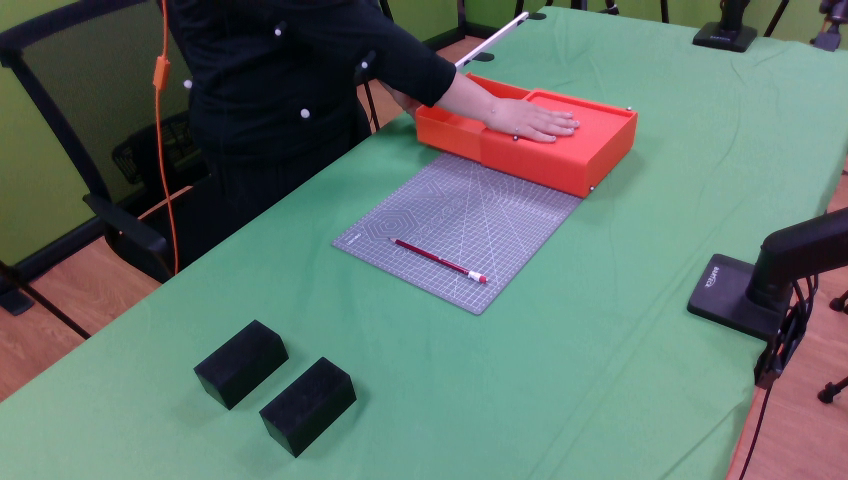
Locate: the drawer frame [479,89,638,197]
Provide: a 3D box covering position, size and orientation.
[{"bbox_3d":[0.243,-0.184,1.102,0.212,0.083,0.202,23,47,31],"label":"drawer frame"}]

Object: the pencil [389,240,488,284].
[{"bbox_3d":[0.018,0.030,0.938,0.192,0.012,0.012,22,48,32],"label":"pencil"}]

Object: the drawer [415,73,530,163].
[{"bbox_3d":[0.122,-0.235,1.175,0.210,0.073,0.195,24,47,28],"label":"drawer"}]
